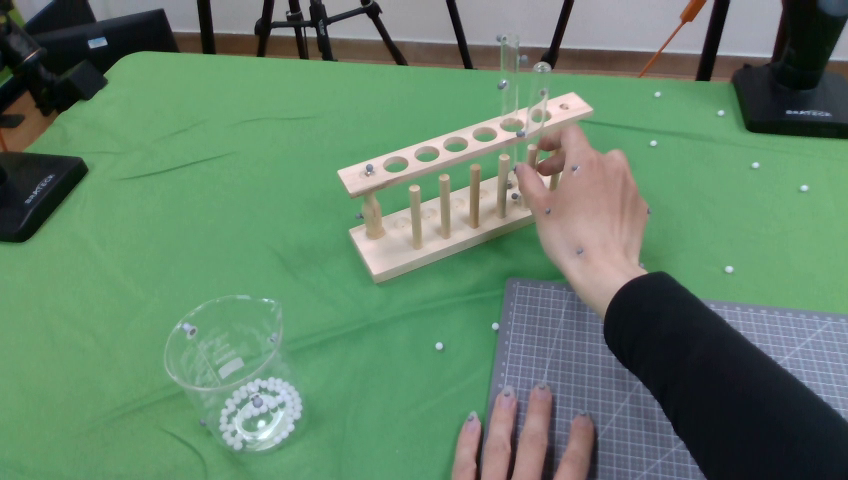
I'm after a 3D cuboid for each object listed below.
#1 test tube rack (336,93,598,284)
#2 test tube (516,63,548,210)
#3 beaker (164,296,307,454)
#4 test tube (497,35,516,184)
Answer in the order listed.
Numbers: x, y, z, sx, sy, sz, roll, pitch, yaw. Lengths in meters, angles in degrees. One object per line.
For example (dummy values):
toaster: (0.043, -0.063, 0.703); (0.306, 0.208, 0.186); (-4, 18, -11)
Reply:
test tube rack: (0.048, -0.051, 0.563); (0.243, 0.086, 0.066); (-21, 49, -15)
test tube: (0.093, -0.085, 0.531); (0.017, 0.152, 0.017); (-1, 45, 2)
beaker: (-0.124, 0.097, 0.425); (0.073, 0.101, 0.084); (28, 54, 27)
test tube: (0.075, -0.113, 0.551); (0.017, 0.152, 0.017); (-4, 43, 4)
